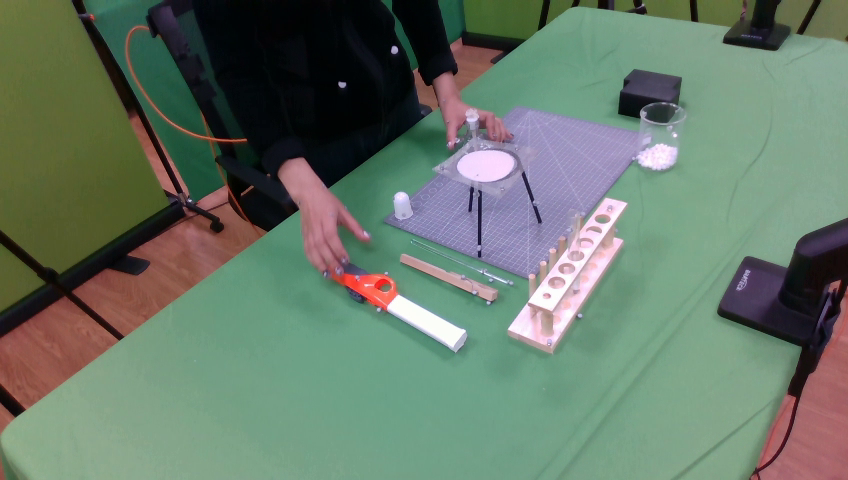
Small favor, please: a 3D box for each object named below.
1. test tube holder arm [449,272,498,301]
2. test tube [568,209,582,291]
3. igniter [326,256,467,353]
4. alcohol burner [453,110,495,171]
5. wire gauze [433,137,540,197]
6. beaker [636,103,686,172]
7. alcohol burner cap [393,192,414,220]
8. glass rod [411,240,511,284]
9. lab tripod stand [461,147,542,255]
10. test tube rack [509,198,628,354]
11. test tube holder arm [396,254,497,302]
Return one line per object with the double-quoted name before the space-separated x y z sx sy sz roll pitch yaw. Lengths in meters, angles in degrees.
"test tube holder arm" 0.070 0.068 0.894 0.087 0.015 0.010 21 11 31
"test tube" 0.200 0.017 0.799 0.017 0.151 0.017 -8 45 8
"igniter" -0.051 0.088 0.886 0.274 0.025 0.057 26 62 35
"alcohol burner" 0.092 -0.187 1.112 0.078 0.119 0.077 -4 41 4
"wire gauze" 0.094 -0.116 0.907 0.124 0.011 0.122 21 47 30
"beaker" 0.413 -0.177 1.055 0.084 0.101 0.073 -28 44 -21
"alcohol burner cap" -0.038 -0.061 1.043 0.034 0.048 0.033 -6 41 5
"glass rod" 0.053 0.033 0.946 0.198 0.008 0.008 22 50 36
"lab tripod stand" 0.114 -0.069 0.953 0.148 0.132 0.147 -5 38 4
"test tube rack" 0.206 0.039 0.850 0.066 0.085 0.243 20 48 31
"test tube holder arm" 0.030 0.055 0.912 0.177 0.015 0.013 21 11 29
